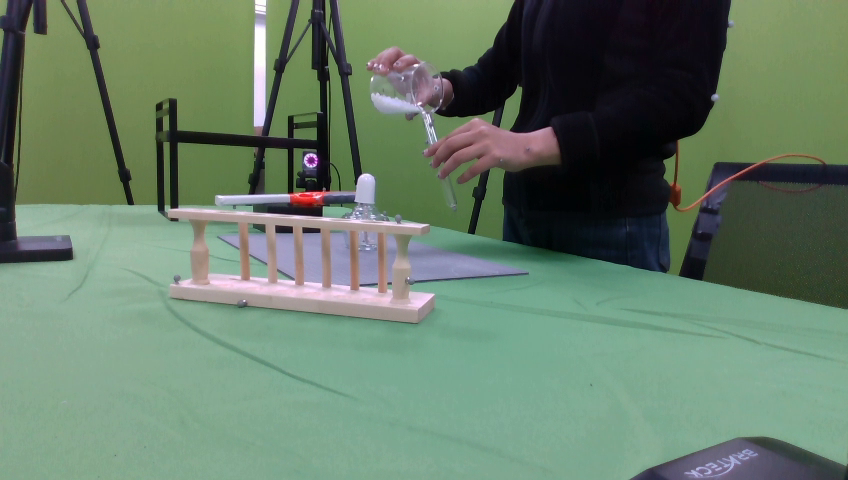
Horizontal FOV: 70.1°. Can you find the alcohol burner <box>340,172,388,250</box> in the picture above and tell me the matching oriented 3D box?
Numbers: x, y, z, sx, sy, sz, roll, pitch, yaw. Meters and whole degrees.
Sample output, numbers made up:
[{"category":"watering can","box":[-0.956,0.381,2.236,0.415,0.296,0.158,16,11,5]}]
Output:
[{"category":"alcohol burner","box":[-0.094,-0.045,0.939,0.078,0.119,0.078,0,7,0]}]

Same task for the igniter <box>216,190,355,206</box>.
[{"category":"igniter","box":[-0.249,-0.079,1.151,0.278,0.025,0.057,-4,11,-27]}]

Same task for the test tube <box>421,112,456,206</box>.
[{"category":"test tube","box":[0.021,-0.121,0.893,0.017,0.150,0.017,-15,-14,-3]}]

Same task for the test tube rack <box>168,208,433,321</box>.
[{"category":"test tube rack","box":[-0.116,0.017,0.574,0.242,0.085,0.067,4,8,13]}]

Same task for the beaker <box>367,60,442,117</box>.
[{"category":"beaker","box":[-0.033,-0.231,0.936,0.100,0.084,0.074,7,9,42]}]

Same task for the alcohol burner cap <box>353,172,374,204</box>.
[{"category":"alcohol burner cap","box":[-0.092,-0.081,0.935,0.034,0.048,0.034,6,10,-1]}]
